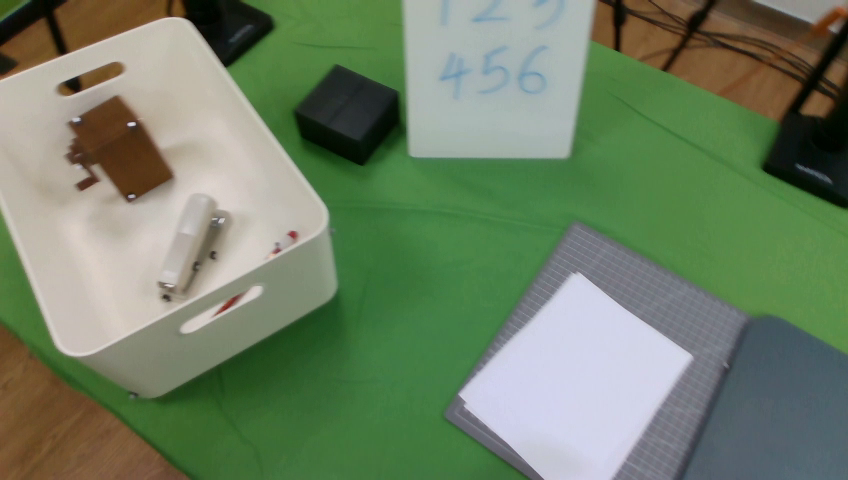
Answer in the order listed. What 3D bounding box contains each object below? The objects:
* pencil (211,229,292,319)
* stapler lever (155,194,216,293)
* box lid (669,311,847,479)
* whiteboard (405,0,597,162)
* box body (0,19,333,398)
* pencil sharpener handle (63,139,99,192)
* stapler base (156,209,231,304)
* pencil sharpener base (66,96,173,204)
[{"bbox_3d":[-0.212,0.060,0.692,0.012,0.012,0.193,27,62,15],"label":"pencil"},{"bbox_3d":[-0.271,0.001,0.687,0.027,0.040,0.117,12,62,8],"label":"stapler lever"},{"bbox_3d":[0.382,0.263,0.589,0.262,0.015,0.370,31,63,15],"label":"box lid"},{"bbox_3d":[0.087,-0.268,0.767,0.217,0.308,0.142,1,39,0],"label":"whiteboard"},{"bbox_3d":[-0.289,-0.042,0.668,0.254,0.161,0.361,-30,64,-18],"label":"box body"},{"bbox_3d":[-0.403,-0.083,0.702,0.030,0.068,0.035,-37,65,-20],"label":"pencil sharpener handle"},{"bbox_3d":[-0.271,0.012,0.711,0.041,0.024,0.129,12,61,8],"label":"stapler base"},{"bbox_3d":[-0.365,-0.105,0.729,0.076,0.108,0.061,-37,65,-20],"label":"pencil sharpener base"}]
